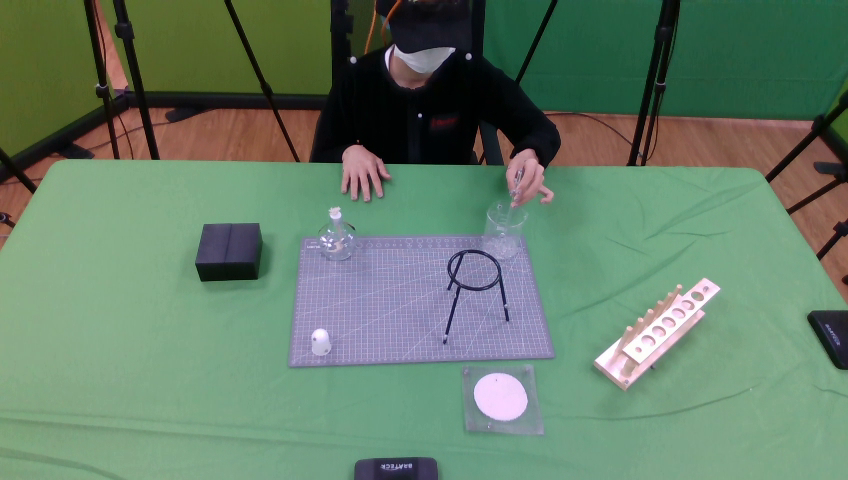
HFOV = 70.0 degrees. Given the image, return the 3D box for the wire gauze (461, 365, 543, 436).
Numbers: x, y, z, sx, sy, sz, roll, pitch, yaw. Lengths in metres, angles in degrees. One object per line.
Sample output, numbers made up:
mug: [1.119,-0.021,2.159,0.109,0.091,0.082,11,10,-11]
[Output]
wire gauze: [0.124,0.254,0.973,0.125,0.011,0.120,3,47,-3]

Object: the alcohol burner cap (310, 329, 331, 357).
alcohol burner cap: [-0.173,0.168,1.004,0.034,0.048,0.033,2,46,-2]

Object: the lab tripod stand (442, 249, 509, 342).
lab tripod stand: [0.082,0.090,1.036,0.148,0.132,0.147,3,44,-3]

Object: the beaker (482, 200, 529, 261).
beaker: [0.153,-0.015,1.169,0.084,0.101,0.073,-2,46,-7]

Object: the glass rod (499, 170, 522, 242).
glass rod: [0.159,-0.059,1.128,0.008,0.200,0.008,3,52,-3]

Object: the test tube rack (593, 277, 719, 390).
test tube rack: [0.401,0.148,1.043,0.242,0.085,0.066,-30,55,-29]

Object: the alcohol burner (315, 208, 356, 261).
alcohol burner: [-0.166,-0.017,1.134,0.078,0.119,0.077,2,48,-2]
